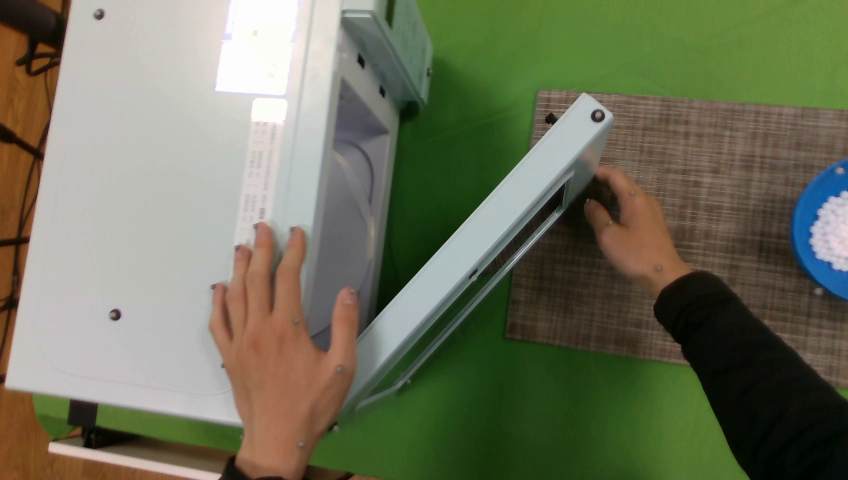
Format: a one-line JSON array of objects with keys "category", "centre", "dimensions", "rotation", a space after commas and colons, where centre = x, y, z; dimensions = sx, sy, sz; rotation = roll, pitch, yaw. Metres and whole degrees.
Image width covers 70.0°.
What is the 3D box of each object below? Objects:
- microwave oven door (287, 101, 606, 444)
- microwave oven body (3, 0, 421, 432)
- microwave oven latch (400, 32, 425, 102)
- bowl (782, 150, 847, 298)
[{"category": "microwave oven door", "centre": [0.035, 0.039, 0.591], "dimensions": [0.039, 0.245, 0.356], "rotation": [43, 93, 13]}, {"category": "microwave oven body", "centre": [-0.198, -0.057, 0.649], "dimensions": [0.325, 0.261, 0.440], "rotation": [5, 86, 11]}, {"category": "microwave oven latch", "centre": [-0.016, -0.209, 0.729], "dimensions": [0.030, 0.029, 0.079], "rotation": [6, 86, 11]}, {"category": "bowl", "centre": [0.437, -0.011, 0.618], "dimensions": [0.151, 0.077, 0.151], "rotation": [-1, 84, 11]}]
